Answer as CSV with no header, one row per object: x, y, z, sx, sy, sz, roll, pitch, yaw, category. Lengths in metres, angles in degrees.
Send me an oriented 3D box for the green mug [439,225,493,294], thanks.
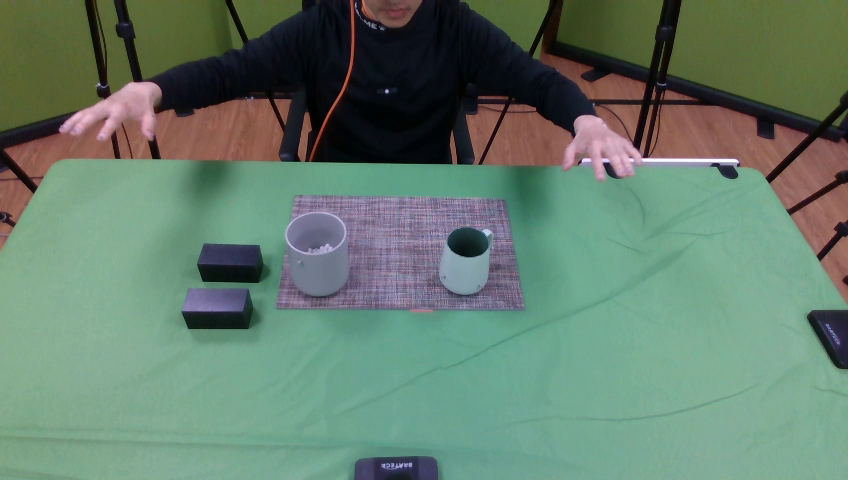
0.086,0.028,1.114,0.092,0.105,0.125,31,52,24,green mug

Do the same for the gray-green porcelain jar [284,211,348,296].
-0.188,0.029,1.077,0.106,0.127,0.105,2,47,-2,gray-green porcelain jar
